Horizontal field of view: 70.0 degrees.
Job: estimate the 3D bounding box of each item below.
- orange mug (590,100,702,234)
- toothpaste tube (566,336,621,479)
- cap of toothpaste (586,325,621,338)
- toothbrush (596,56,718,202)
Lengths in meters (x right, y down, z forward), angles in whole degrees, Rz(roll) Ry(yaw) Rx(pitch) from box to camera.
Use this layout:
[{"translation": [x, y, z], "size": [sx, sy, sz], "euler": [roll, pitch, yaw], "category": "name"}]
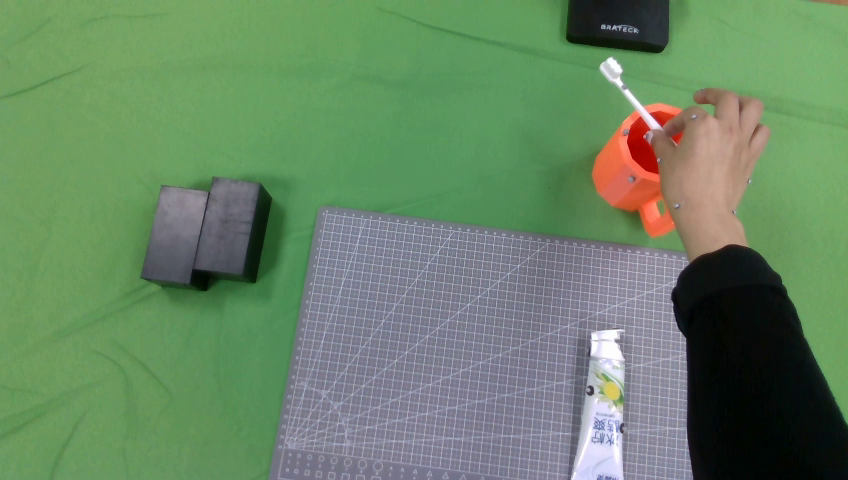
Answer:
[{"translation": [0.239, -0.073, 0.647], "size": [0.083, 0.101, 0.125], "euler": [-13, 73, -4], "category": "orange mug"}, {"translation": [0.179, 0.177, 0.624], "size": [0.055, 0.035, 0.164], "euler": [5, 81, 7], "category": "toothpaste tube"}, {"translation": [0.189, 0.097, 0.636], "size": [0.037, 0.037, 0.011], "euler": [-5, 74, -2], "category": "cap of toothpaste"}, {"translation": [0.231, -0.111, 0.600], "size": [0.014, 0.017, 0.181], "euler": [-33, 82, -24], "category": "toothbrush"}]
